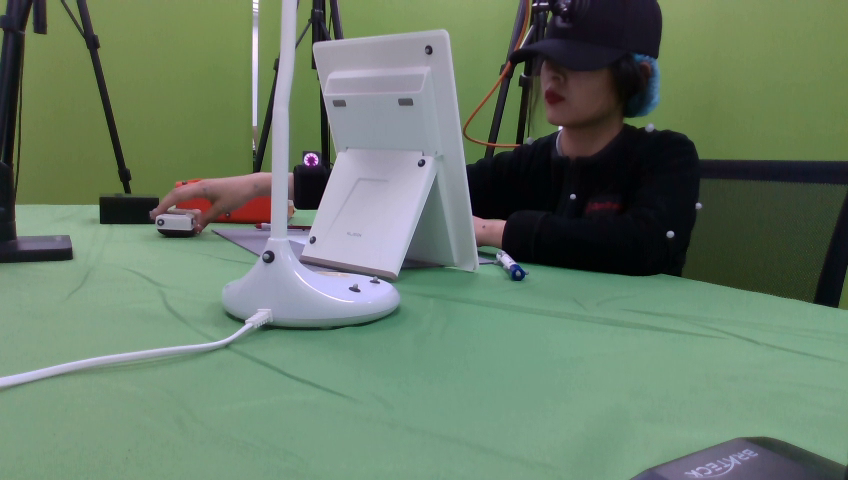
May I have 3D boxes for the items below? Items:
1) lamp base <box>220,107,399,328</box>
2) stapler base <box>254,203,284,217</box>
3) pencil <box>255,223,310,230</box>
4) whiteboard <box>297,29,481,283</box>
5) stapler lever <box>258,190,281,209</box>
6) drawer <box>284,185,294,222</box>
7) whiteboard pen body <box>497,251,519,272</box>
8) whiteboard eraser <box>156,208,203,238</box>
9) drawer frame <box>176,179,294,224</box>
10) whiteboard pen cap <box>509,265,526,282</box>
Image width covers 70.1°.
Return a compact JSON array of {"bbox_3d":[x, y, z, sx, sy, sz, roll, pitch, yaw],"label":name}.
[{"bbox_3d":[-0.102,-0.023,0.531,0.160,0.180,0.179,4,10,10],"label":"lamp base"},{"bbox_3d":[-0.334,-0.068,1.307,0.041,0.024,0.130,5,6,-2],"label":"stapler base"},{"bbox_3d":[-0.216,-0.023,1.134,0.195,0.012,0.012,1,7,-21],"label":"pencil"},{"bbox_3d":[-0.076,-0.082,0.741,0.216,0.305,0.144,9,29,37],"label":"whiteboard"},{"bbox_3d":[-0.333,-0.091,1.305,0.027,0.040,0.118,5,9,-2],"label":"stapler lever"},{"bbox_3d":[-0.390,-0.084,1.301,0.212,0.073,0.194,1,8,-8],"label":"drawer"},{"bbox_3d":[0.116,0.032,0.810,0.017,0.017,0.140,2,8,-2],"label":"whiteboard pen body"},{"bbox_3d":[-0.409,-0.029,1.016,0.056,0.042,0.112,7,8,-13],"label":"whiteboard eraser"},{"bbox_3d":[-0.395,-0.085,1.299,0.214,0.082,0.201,1,8,-9],"label":"drawer frame"},{"bbox_3d":[0.116,0.040,0.752,0.018,0.018,0.033,2,10,-1],"label":"whiteboard pen cap"}]
